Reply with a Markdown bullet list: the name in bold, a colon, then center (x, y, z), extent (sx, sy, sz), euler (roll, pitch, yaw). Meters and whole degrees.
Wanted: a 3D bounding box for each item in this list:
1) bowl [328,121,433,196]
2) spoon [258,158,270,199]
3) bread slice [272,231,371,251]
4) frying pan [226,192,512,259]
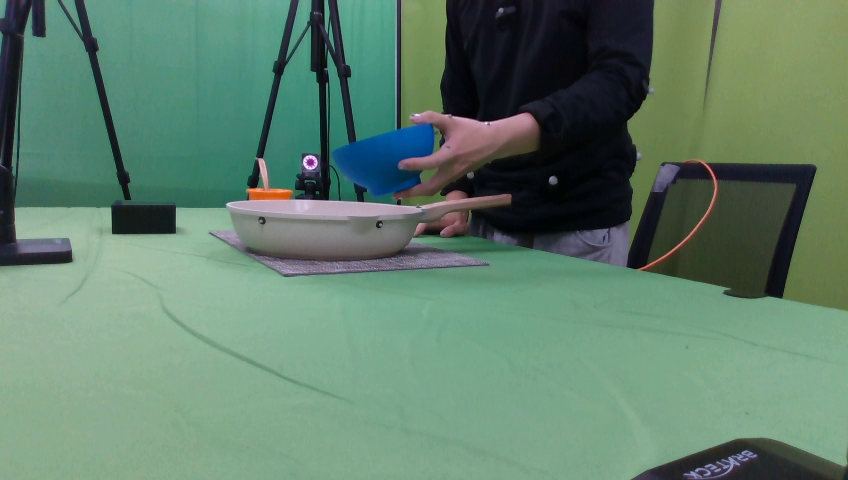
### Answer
- **bowl**: center (-0.051, -0.109, 0.853), extent (0.151, 0.077, 0.151), euler (-16, 7, 2)
- **spoon**: center (-0.332, -0.107, 1.269), extent (0.042, 0.021, 0.193), euler (0, 53, -23)
- **bread slice**: center (-0.148, 0.001, 0.929), extent (0.133, 0.018, 0.107), euler (5, 8, 38)
- **frying pan**: center (-0.058, -0.041, 0.975), extent (0.490, 0.102, 0.305), euler (-11, 13, -26)
